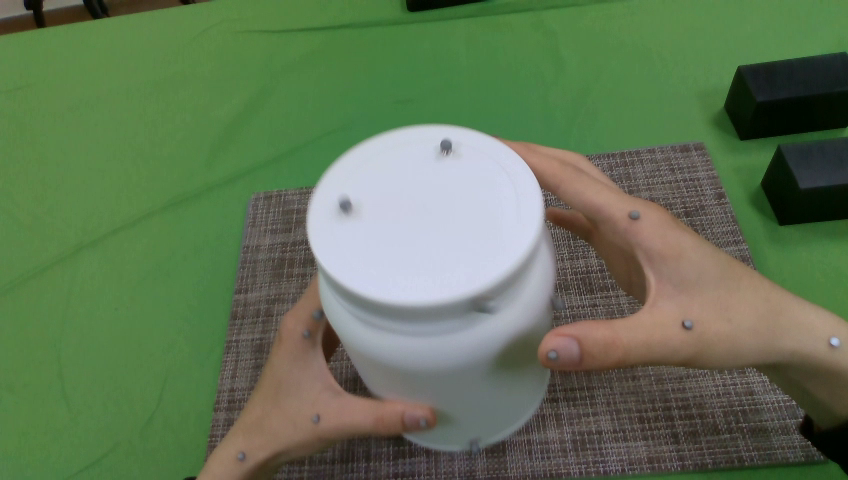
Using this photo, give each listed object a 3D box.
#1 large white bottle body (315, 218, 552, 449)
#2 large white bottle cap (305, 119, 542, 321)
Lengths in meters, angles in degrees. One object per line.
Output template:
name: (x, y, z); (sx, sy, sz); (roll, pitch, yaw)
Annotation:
large white bottle body: (0.011, 0.037, 0.368); (0.130, 0.186, 0.129); (-4, 54, 7)
large white bottle cap: (0.000, -0.014, 0.296); (0.115, 0.018, 0.113); (-2, 54, 3)
